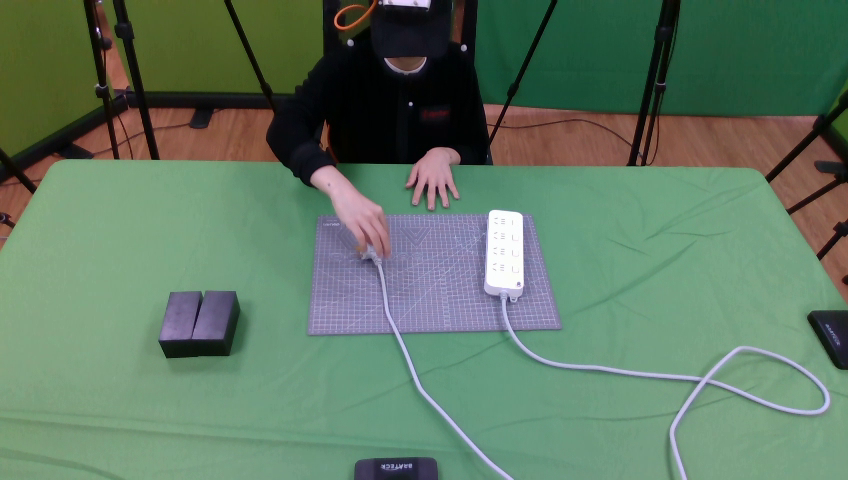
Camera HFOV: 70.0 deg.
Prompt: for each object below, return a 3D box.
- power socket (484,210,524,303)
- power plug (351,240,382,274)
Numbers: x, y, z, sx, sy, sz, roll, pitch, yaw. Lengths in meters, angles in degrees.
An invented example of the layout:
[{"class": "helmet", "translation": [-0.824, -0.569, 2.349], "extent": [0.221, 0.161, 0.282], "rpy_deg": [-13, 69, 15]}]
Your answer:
[{"class": "power socket", "translation": [0.157, 0.023, 1.175], "extent": [0.072, 0.033, 0.225], "rpy_deg": [6, 46, 3]}, {"class": "power plug", "translation": [-0.107, 0.029, 1.144], "extent": [0.053, 0.035, 0.072], "rpy_deg": [2, 31, -24]}]
